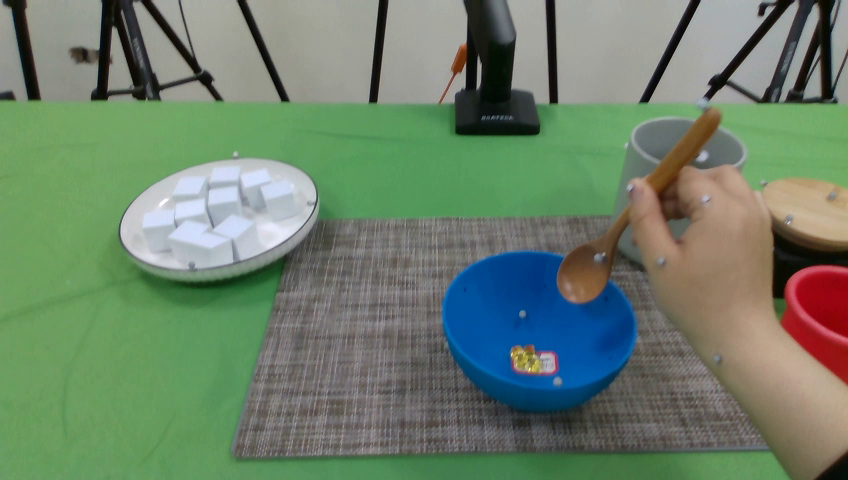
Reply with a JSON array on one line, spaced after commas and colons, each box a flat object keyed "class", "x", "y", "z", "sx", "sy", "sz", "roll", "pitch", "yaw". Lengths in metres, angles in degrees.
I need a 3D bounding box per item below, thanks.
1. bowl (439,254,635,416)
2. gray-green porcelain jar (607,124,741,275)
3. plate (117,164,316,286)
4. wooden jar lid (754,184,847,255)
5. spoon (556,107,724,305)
[{"class": "bowl", "x": 0.087, "y": 0.088, "z": 0.493, "sx": 0.151, "sy": 0.077, "sz": 0.150, "roll": 0, "pitch": 38, "yaw": 0}, {"class": "gray-green porcelain jar", "x": 0.245, "y": -0.037, "z": 0.613, "sx": 0.106, "sy": 0.127, "sz": 0.105, "roll": 0, "pitch": 38, "yaw": 1}, {"class": "plate", "x": -0.222, "y": -0.016, "z": 0.665, "sx": 0.209, "sy": 0.038, "sz": 0.207, "roll": -1, "pitch": 38, "yaw": 1}, {"class": "wooden jar lid", "x": 0.386, "y": -0.020, "z": 0.602, "sx": 0.108, "sy": 0.021, "sz": 0.107, "roll": -1, "pitch": 38, "yaw": 1}, {"class": "spoon", "x": 0.137, "y": -0.013, "z": 0.407, "sx": 0.022, "sy": 0.195, "sz": 0.041, "roll": -14, "pitch": 61, "yaw": -23}]
